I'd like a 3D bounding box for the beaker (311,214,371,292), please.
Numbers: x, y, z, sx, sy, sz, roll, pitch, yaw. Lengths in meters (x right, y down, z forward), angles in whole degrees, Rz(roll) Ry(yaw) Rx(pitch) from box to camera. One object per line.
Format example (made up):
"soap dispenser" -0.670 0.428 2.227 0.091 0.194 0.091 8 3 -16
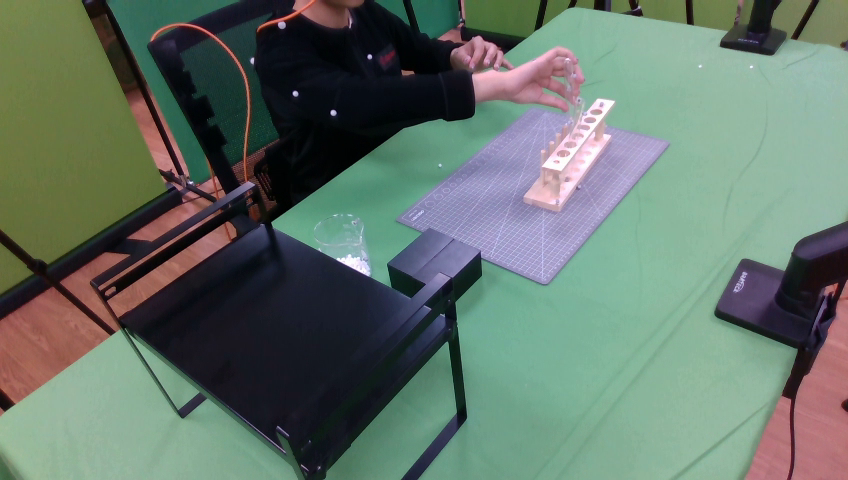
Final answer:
"beaker" -0.118 0.022 0.908 0.083 0.101 0.074 26 51 32

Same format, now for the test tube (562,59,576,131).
"test tube" 0.249 -0.245 1.037 0.017 0.151 0.017 -9 50 11

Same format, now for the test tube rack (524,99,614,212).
"test tube rack" 0.259 -0.158 1.069 0.066 0.085 0.243 19 47 28

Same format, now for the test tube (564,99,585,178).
"test tube" 0.248 -0.164 1.001 0.017 0.151 0.017 -1 42 1
